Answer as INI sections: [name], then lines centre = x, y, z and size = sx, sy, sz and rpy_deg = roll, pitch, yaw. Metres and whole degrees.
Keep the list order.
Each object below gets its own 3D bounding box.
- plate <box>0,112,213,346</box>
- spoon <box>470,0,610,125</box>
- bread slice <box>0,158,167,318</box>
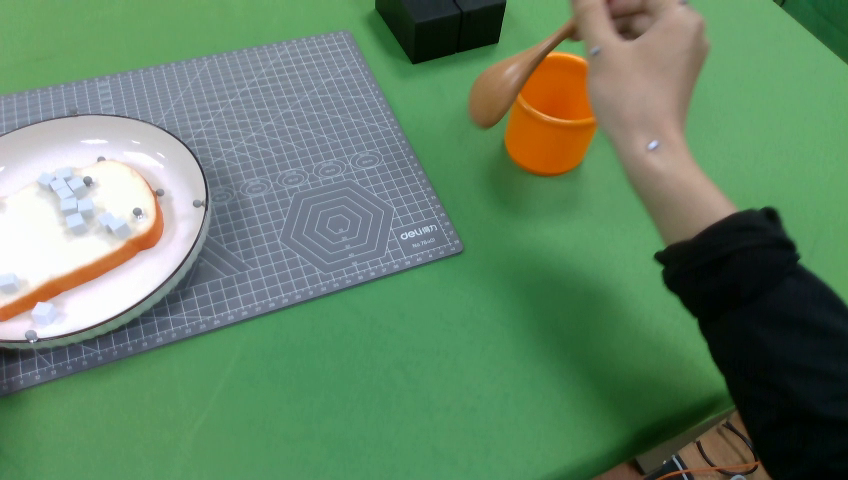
[plate]
centre = -0.266, -0.011, 0.459
size = 0.209, 0.038, 0.207
rpy_deg = 3, 56, -4
[spoon]
centre = 0.099, -0.148, 0.413
size = 0.022, 0.194, 0.041
rpy_deg = 10, 49, -50
[bread slice]
centre = -0.270, -0.013, 0.463
size = 0.131, 0.019, 0.104
rpy_deg = -31, 65, -22
